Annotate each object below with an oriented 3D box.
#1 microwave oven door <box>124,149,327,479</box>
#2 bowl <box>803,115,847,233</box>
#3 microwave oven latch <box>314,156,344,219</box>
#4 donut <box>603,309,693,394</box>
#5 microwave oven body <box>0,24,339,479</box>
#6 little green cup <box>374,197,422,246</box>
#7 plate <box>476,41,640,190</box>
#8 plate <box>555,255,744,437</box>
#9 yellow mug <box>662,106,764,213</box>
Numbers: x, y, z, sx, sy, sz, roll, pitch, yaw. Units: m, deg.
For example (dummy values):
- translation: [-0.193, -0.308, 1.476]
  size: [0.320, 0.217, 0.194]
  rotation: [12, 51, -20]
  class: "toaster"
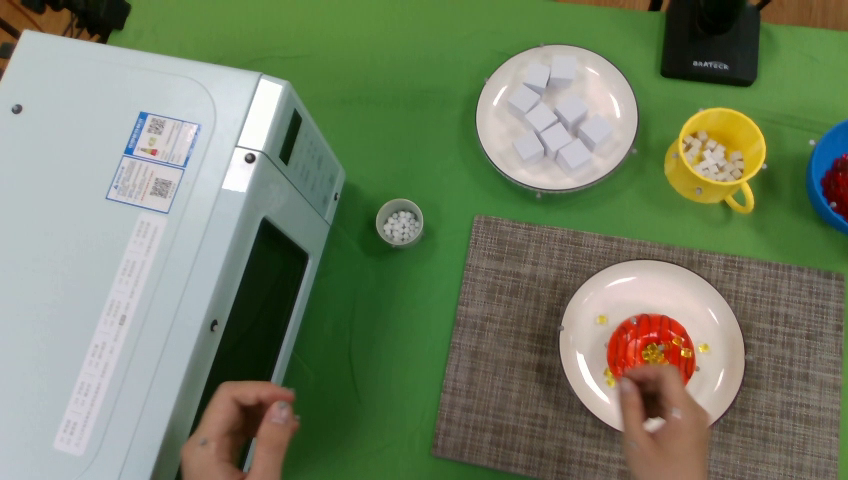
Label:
- translation: [-0.196, 0.110, 0.639]
  size: [0.039, 0.245, 0.354]
  rotation: [12, 77, 9]
  class: "microwave oven door"
- translation: [0.516, -0.066, 0.714]
  size: [0.151, 0.077, 0.150]
  rotation: [-2, 76, 6]
  class: "bowl"
- translation: [-0.127, -0.069, 0.784]
  size: [0.030, 0.029, 0.079]
  rotation: [15, 78, 9]
  class: "microwave oven latch"
- translation: [0.256, 0.127, 0.696]
  size: [0.099, 0.048, 0.098]
  rotation: [-2, 78, 8]
  class: "donut"
- translation: [-0.325, 0.040, 0.676]
  size: [0.325, 0.261, 0.440]
  rotation: [13, 78, 9]
  class: "microwave oven body"
- translation: [-0.031, -0.021, 0.780]
  size: [0.061, 0.039, 0.061]
  rotation: [-1, 77, 5]
  class: "little green cup"
- translation: [0.173, -0.160, 0.796]
  size: [0.207, 0.039, 0.206]
  rotation: [-1, 75, 6]
  class: "plate"
- translation: [0.258, 0.121, 0.709]
  size: [0.209, 0.038, 0.208]
  rotation: [-1, 76, 6]
  class: "plate"
- translation: [0.361, -0.092, 0.743]
  size: [0.100, 0.064, 0.130]
  rotation: [-26, 75, -1]
  class: "yellow mug"
